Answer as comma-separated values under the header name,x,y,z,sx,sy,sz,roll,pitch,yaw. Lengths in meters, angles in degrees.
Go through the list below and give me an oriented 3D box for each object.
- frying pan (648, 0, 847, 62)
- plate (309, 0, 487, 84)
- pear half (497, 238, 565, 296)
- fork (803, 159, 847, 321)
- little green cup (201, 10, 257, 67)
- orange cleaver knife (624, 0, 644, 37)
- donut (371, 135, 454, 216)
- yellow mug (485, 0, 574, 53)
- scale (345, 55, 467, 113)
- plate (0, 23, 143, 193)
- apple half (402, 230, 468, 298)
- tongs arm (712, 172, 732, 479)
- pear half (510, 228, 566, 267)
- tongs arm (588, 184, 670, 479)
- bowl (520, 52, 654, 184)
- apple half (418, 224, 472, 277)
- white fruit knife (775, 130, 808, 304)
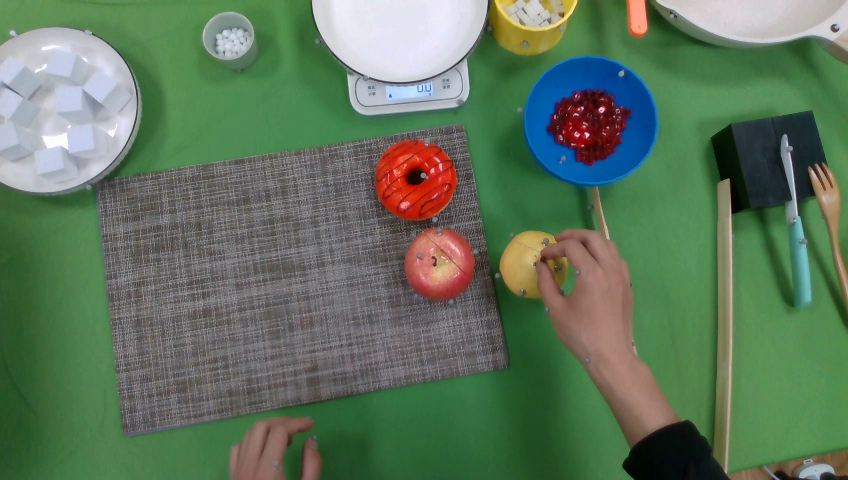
name,x,y,z,sx,sy,sz,roll,pitch,yaw
frying pan,0.448,-0.292,0.723,0.307,0.103,0.485,-37,76,-4
plate,-0.030,-0.281,0.718,0.209,0.038,0.208,0,82,-1
pear half,0.117,0.034,0.673,0.076,0.110,0.056,22,85,7
fork,0.478,0.006,0.705,0.028,0.018,0.208,-19,99,-5
little green cup,-0.235,-0.243,0.740,0.061,0.039,0.061,0,82,0
orange cleaver knife,0.254,-0.342,0.709,0.077,0.012,0.210,-5,83,1
donut,-0.014,-0.076,0.714,0.099,0.048,0.099,0,83,1
yellow mug,0.117,-0.301,0.738,0.100,0.064,0.130,-42,84,-5
scale,-0.028,-0.262,0.749,0.149,0.031,0.200,-5,83,-1
plate,-0.438,-0.155,0.725,0.208,0.039,0.207,0,82,-1
apple half,0.005,0.035,0.686,0.081,0.075,0.053,44,87,2
tongs arm,0.340,0.111,0.706,0.028,0.028,0.386,5,84,-6
pear half,0.133,0.003,0.686,0.070,0.088,0.031,22,84,7
tongs arm,0.254,0.118,0.702,0.051,0.026,0.383,-10,84,-5
bowl,0.182,-0.133,0.712,0.151,0.077,0.151,0,83,-1
apple half,0.031,0.006,0.688,0.081,0.081,0.033,44,87,5
white fruit knife,0.423,-0.024,0.701,0.016,0.027,0.208,-12,97,-2
